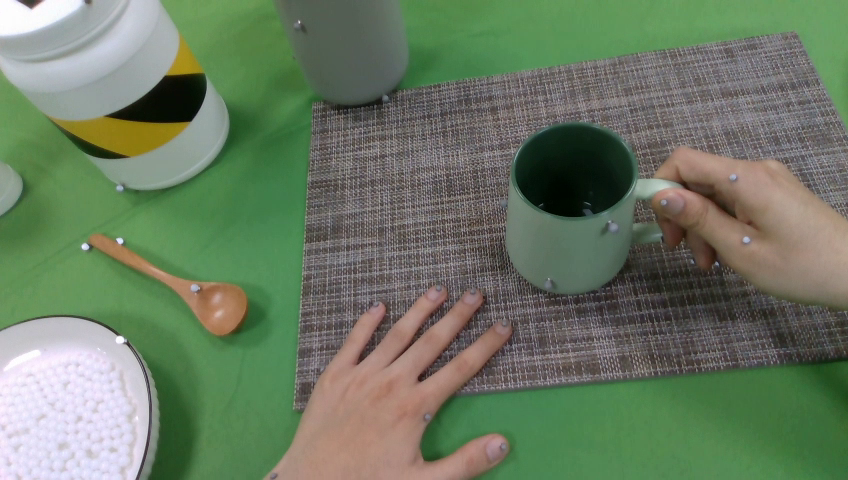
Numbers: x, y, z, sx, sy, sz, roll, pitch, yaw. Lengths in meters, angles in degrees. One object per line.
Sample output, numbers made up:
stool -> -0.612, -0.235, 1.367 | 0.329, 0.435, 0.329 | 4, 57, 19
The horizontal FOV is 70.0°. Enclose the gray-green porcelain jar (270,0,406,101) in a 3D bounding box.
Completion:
gray-green porcelain jar -> -0.074, -0.199, 0.544 | 0.106, 0.128, 0.105 | -4, 57, 7

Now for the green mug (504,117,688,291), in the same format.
green mug -> 0.118, -0.022, 0.424 | 0.125, 0.106, 0.092 | 1, 61, 10

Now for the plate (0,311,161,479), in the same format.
plate -> -0.285, 0.153, 0.437 | 0.209, 0.038, 0.207 | -4, 60, 7

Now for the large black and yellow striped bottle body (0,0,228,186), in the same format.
large black and yellow striped bottle body -> -0.265, -0.146, 0.514 | 0.130, 0.185, 0.129 | -4, 61, 7

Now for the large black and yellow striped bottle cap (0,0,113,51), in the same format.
large black and yellow striped bottle cap -> -0.278, -0.185, 0.442 | 0.115, 0.019, 0.114 | -4, 60, 7

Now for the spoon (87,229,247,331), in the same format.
spoon -> -0.219, 0.025, 0.506 | 0.192, 0.022, 0.041 | 23, 85, 20

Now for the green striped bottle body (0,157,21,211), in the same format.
green striped bottle body -> -0.430, -0.075, 0.539 | 0.063, 0.120, 0.062 | -4, 60, 8
